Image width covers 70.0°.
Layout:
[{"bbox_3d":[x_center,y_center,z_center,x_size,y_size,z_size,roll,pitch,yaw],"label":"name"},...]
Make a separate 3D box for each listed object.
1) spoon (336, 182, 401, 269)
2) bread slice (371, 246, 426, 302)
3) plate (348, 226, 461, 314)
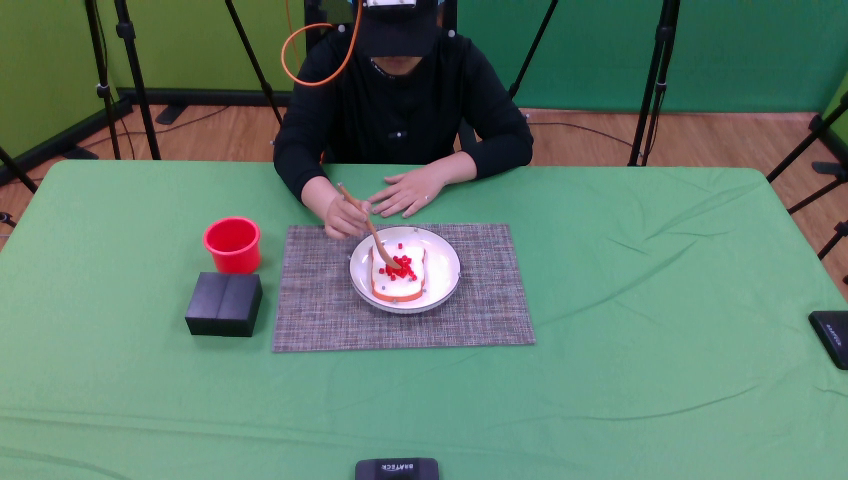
[{"bbox_3d":[-0.098,-0.023,1.070,0.021,0.194,0.041,-35,17,-15],"label":"spoon"},{"bbox_3d":[-0.047,0.060,1.123,0.105,0.019,0.130,1,45,-3],"label":"bread slice"},{"bbox_3d":[-0.035,0.058,1.123,0.209,0.038,0.208,2,45,-2],"label":"plate"}]
